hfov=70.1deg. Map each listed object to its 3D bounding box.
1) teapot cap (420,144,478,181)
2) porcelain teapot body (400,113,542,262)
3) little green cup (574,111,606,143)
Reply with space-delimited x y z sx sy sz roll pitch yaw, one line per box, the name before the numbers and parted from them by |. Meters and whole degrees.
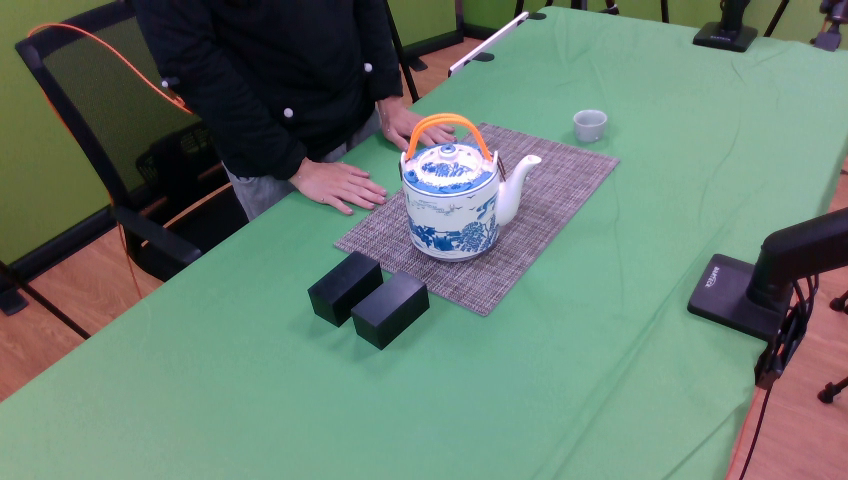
teapot cap | 0.036 -0.114 0.874 0.085 0.044 0.085 -2 42 3
porcelain teapot body | 0.069 -0.086 0.897 0.205 0.226 0.144 -1 41 7
little green cup | 0.318 -0.217 1.164 0.061 0.039 0.061 -3 41 3
